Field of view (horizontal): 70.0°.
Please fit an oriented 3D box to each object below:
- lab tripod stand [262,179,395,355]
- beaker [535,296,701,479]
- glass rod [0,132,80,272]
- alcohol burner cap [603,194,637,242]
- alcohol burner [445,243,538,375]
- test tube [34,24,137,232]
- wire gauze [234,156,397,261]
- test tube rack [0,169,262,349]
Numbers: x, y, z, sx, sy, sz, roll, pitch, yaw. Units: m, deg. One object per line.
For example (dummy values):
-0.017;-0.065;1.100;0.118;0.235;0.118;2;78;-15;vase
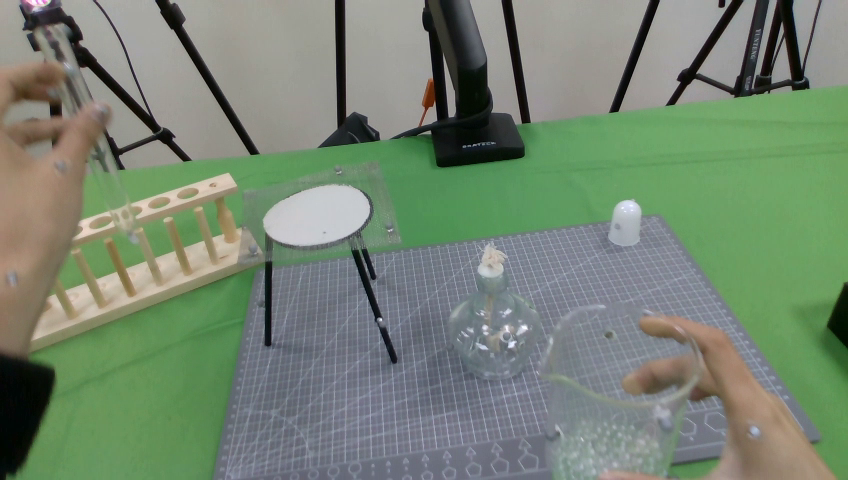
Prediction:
-0.086;0.025;0.535;0.148;0.133;0.147;-4;39;4;lab tripod stand
0.101;0.093;0.336;0.084;0.101;0.073;-10;35;-8;beaker
-0.358;-0.025;0.574;0.008;0.201;0.008;-3;41;3;glass rod
0.207;-0.026;0.636;0.034;0.048;0.033;-4;37;3;alcohol burner cap
0.054;0.053;0.495;0.078;0.120;0.077;-4;36;4;alcohol burner
-0.215;-0.064;0.392;0.017;0.151;0.017;1;42;-1;test tube
-0.092;-0.027;0.494;0.125;0.011;0.120;-12;37;-6;wire gauze
-0.303;0.014;0.627;0.243;0.086;0.066;-23;40;-21;test tube rack
